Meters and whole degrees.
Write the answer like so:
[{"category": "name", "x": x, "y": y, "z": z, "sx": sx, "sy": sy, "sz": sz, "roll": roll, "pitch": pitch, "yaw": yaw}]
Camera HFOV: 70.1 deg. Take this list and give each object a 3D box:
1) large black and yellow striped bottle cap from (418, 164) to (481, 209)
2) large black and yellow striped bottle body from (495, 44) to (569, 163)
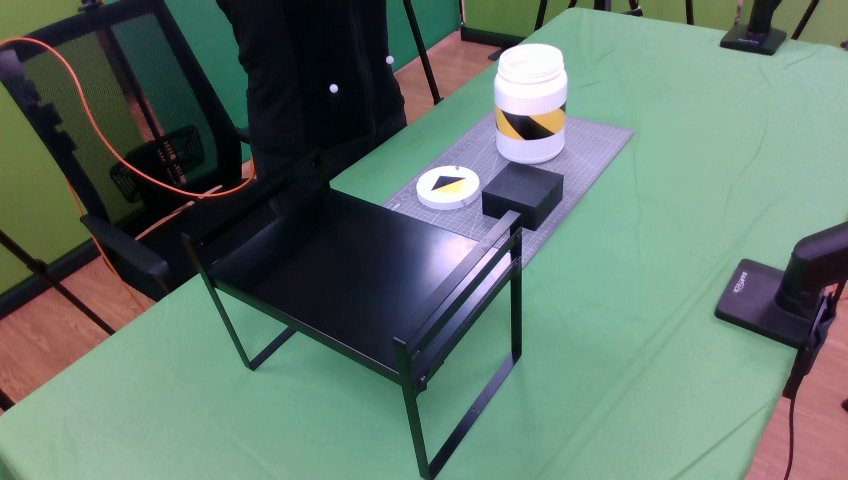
[{"category": "large black and yellow striped bottle cap", "x": 0.045, "y": -0.098, "z": 1.084, "sx": 0.115, "sy": 0.019, "sz": 0.114, "roll": -4, "pitch": 42, "yaw": 4}, {"category": "large black and yellow striped bottle body", "x": 0.198, "y": -0.250, "z": 1.109, "sx": 0.131, "sy": 0.185, "sz": 0.130, "roll": -5, "pitch": 41, "yaw": 4}]
